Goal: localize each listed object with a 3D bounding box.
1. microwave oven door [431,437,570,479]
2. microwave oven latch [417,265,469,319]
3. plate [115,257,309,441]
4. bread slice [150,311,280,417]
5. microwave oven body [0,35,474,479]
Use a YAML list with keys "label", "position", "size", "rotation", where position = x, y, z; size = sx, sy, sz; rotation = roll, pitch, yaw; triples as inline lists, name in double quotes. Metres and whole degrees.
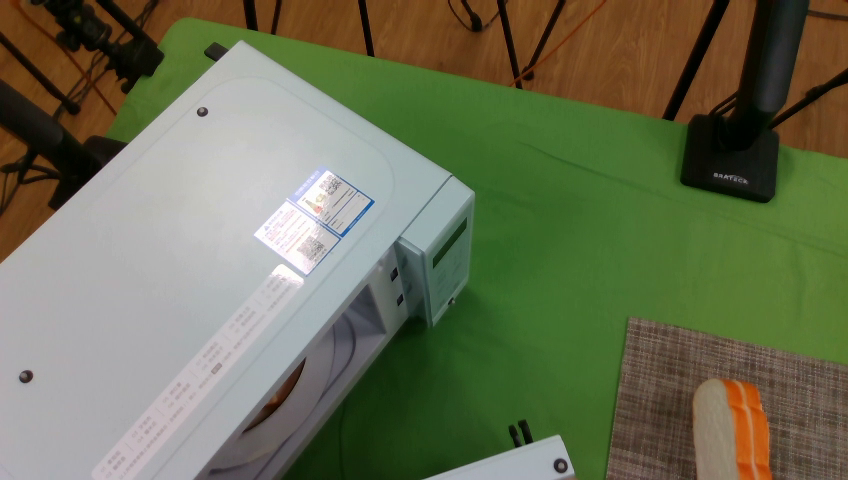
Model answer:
- label: "microwave oven door"
  position: [-0.056, 0.254, 0.548]
  size: [0.356, 0.245, 0.039]
  rotation: [-17, 66, -5]
- label: "microwave oven latch"
  position: [0.023, 0.057, 0.740]
  size: [0.030, 0.030, 0.079]
  rotation: [36, 73, 15]
- label: "plate"
  position: [-0.232, 0.120, 0.680]
  size: [0.208, 0.039, 0.206]
  rotation: [1, 64, -2]
- label: "bread slice"
  position: [-0.233, 0.144, 0.676]
  size: [0.134, 0.018, 0.106]
  rotation: [-12, 63, -13]
- label: "microwave oven body"
  position: [-0.206, 0.070, 0.638]
  size: [0.324, 0.262, 0.440]
  rotation: [34, 73, 15]
